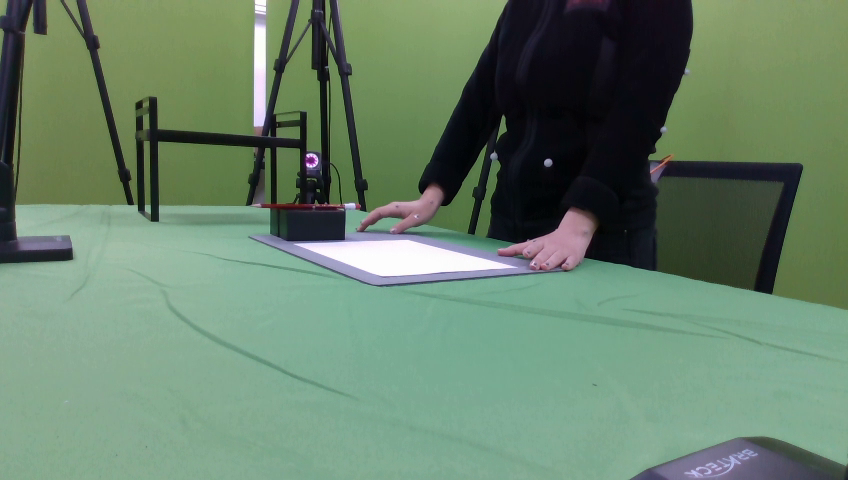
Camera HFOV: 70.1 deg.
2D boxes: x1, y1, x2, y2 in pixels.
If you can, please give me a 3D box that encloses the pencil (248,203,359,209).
[{"bbox_3d":[-0.201,-0.059,1.031,0.195,0.012,0.012,-2,9,-31],"label":"pencil"}]
